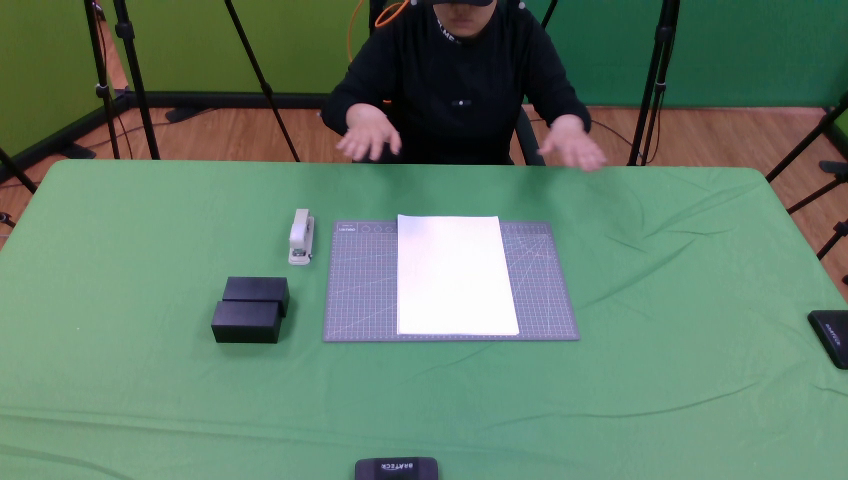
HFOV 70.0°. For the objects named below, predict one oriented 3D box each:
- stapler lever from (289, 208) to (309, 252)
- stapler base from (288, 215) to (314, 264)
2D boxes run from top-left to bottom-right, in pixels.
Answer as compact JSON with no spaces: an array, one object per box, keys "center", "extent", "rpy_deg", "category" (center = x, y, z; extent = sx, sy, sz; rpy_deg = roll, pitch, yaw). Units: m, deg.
[{"center":[-0.240,-0.026,1.168],"extent":[0.027,0.040,0.117],"rpy_deg":[1,44,-5],"category":"stapler lever"},{"center":[-0.241,-0.007,1.184],"extent":[0.041,0.024,0.129],"rpy_deg":[1,44,-6],"category":"stapler base"}]
